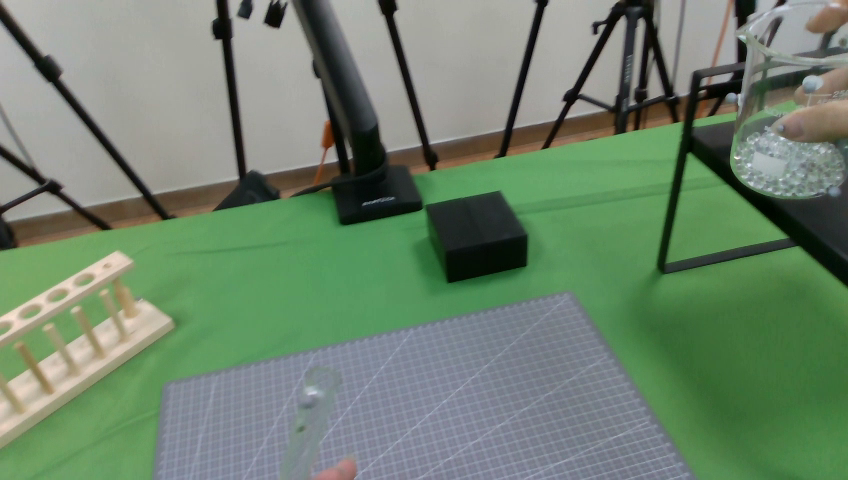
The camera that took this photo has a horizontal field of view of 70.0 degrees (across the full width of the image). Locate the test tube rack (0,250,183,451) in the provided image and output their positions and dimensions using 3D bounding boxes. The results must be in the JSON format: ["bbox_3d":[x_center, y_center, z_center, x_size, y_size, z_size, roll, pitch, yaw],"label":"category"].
[{"bbox_3d":[-0.381,0.115,0.616,0.066,0.086,0.242,24,46,32],"label":"test tube rack"}]

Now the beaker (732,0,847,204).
[{"bbox_3d":[0.227,-0.079,0.363,0.083,0.101,0.074,17,51,31],"label":"beaker"}]

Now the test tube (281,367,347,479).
[{"bbox_3d":[-0.066,0.123,0.318,0.017,0.151,0.017,16,31,-9],"label":"test tube"}]
